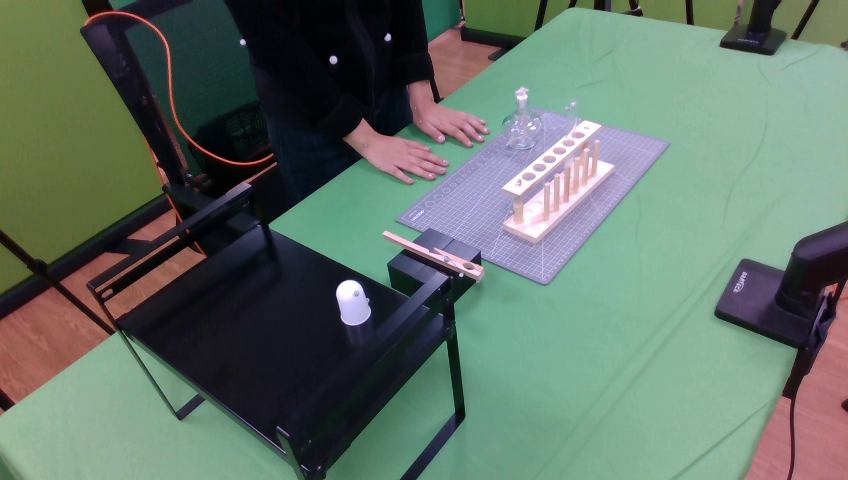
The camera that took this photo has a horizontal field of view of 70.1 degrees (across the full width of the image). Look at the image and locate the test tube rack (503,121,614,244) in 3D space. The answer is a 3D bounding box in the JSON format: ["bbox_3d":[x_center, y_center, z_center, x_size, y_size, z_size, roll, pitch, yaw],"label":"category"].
[{"bbox_3d":[0.230,-0.101,1.006,0.066,0.085,0.243,26,50,34],"label":"test tube rack"}]

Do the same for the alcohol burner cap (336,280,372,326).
[{"bbox_3d":[-0.073,0.061,0.619,0.034,0.048,0.033,-4,42,4],"label":"alcohol burner cap"}]

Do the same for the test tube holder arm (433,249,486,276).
[{"bbox_3d":[0.048,0.033,0.858,0.087,0.015,0.010,19,51,30],"label":"test tube holder arm"}]

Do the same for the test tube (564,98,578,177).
[{"bbox_3d":[0.244,-0.166,1.004,0.017,0.151,0.017,-5,42,5],"label":"test tube"}]

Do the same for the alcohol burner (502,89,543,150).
[{"bbox_3d":[0.186,-0.233,1.147,0.078,0.119,0.077,-5,42,5],"label":"alcohol burner"}]

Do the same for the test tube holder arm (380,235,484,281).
[{"bbox_3d":[0.008,0.024,0.877,0.177,0.015,0.013,18,51,29],"label":"test tube holder arm"}]
